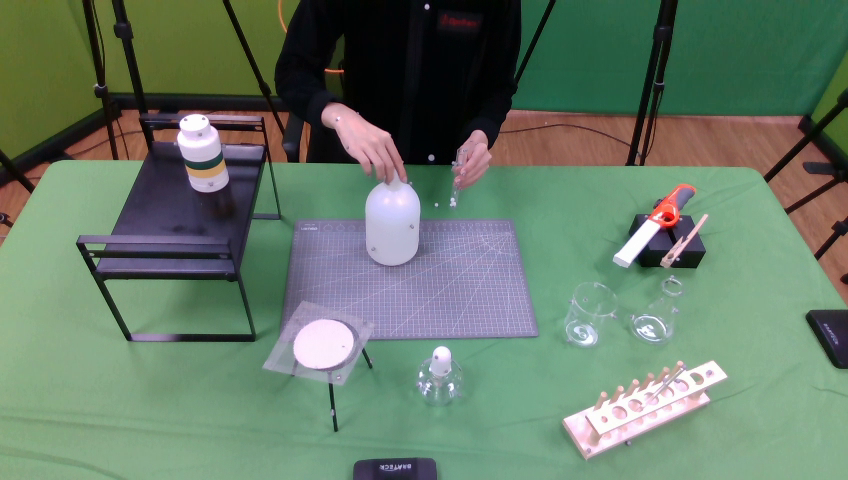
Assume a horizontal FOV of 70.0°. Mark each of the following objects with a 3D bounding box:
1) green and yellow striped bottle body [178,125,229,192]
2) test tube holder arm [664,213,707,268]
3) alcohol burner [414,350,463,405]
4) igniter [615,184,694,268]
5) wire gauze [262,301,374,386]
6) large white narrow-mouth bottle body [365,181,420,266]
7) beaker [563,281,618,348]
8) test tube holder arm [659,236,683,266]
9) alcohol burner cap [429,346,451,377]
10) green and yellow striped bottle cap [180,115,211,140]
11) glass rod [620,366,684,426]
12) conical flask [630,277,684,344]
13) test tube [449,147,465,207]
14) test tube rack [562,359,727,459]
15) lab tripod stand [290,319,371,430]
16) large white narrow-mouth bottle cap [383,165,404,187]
[{"bbox_3d":[-0.361,-0.142,0.989,0.063,0.120,0.063,2,46,-2],"label":"green and yellow striped bottle body"},{"bbox_3d":[0.507,-0.001,1.171,0.013,0.015,0.178,34,54,26],"label":"test tube holder arm"},{"bbox_3d":[0.023,0.205,0.939,0.078,0.120,0.077,1,48,-1],"label":"alcohol burner"},{"bbox_3d":[0.459,-0.035,1.197,0.057,0.025,0.276,32,55,27],"label":"igniter"},{"bbox_3d":[-0.150,0.148,0.873,0.121,0.011,0.124,14,46,12],"label":"wire gauze"},{"bbox_3d":[-0.059,-0.048,1.117,0.102,0.195,0.101,2,45,-2],"label":"large white narrow-mouth bottle body"},{"bbox_3d":[0.283,0.129,1.041,0.074,0.101,0.083,11,46,7],"label":"beaker"},{"bbox_3d":[0.472,0.020,1.149,0.010,0.015,0.088,35,54,27],"label":"test tube holder arm"},{"bbox_3d":[0.026,0.180,0.912,0.034,0.048,0.033,1,47,-1],"label":"alcohol burner cap"},{"bbox_3d":[-0.358,-0.177,0.951,0.045,0.020,0.045,2,45,-2],"label":"green and yellow striped bottle cap"},{"bbox_3d":[0.323,0.227,0.866,0.008,0.200,0.008,5,51,-6],"label":"glass rod"},{"bbox_3d":[0.408,0.117,1.045,0.075,0.122,0.075,2,46,-2],"label":"conical flask"},{"bbox_3d":[0.059,-0.112,1.114,0.017,0.151,0.017,2,52,-3],"label":"test tube"},{"bbox_3d":[0.341,0.247,0.940,0.243,0.085,0.066,-16,49,-18],"label":"test tube rack"},{"bbox_3d":[-0.146,0.194,0.923,0.148,0.132,0.147,1,47,-1],"label":"lab tripod stand"},{"bbox_3d":[-0.053,-0.111,1.055,0.038,0.024,0.037,2,45,-2],"label":"large white narrow-mouth bottle cap"}]
